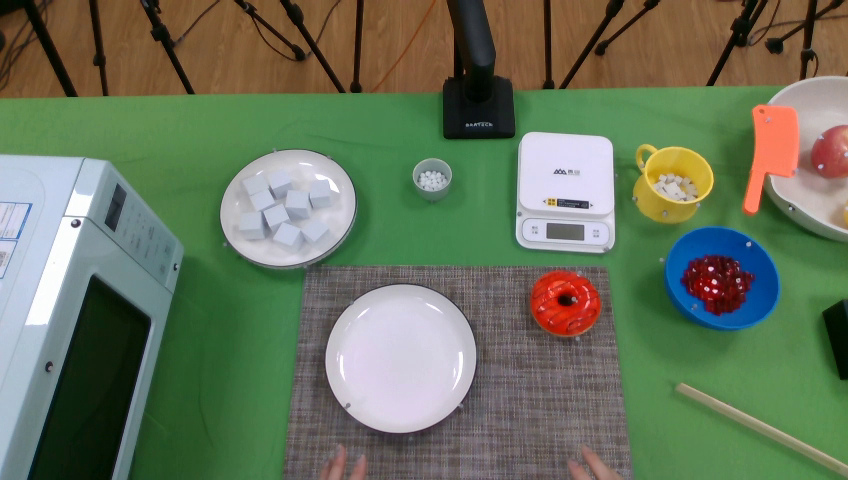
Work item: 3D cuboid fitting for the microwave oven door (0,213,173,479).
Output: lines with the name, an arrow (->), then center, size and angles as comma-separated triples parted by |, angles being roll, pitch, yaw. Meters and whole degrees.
microwave oven door -> -0.393, 0.178, 0.699 | 0.039, 0.245, 0.353 | 2, 65, 3

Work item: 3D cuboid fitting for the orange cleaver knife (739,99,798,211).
orange cleaver knife -> 0.511, -0.129, 0.896 | 0.077, 0.012, 0.210 | 17, 67, 10

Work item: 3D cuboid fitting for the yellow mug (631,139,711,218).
yellow mug -> 0.366, -0.103, 0.928 | 0.100, 0.064, 0.129 | -30, 67, -11

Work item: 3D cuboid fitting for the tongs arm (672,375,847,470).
tongs arm -> 0.499, 0.275, 0.766 | 0.386, 0.028, 0.028 | 28, 63, 14

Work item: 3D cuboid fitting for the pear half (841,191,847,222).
pear half -> 0.650, -0.053, 0.869 | 0.076, 0.111, 0.056 | 34, 70, 20

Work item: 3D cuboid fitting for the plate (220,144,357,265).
plate -> -0.205, -0.053, 0.935 | 0.208, 0.039, 0.206 | 0, 65, 1

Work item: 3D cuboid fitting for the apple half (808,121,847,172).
apple half -> 0.613, -0.138, 0.928 | 0.033, 0.082, 0.080 | -7, 65, -6

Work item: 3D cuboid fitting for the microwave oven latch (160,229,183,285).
microwave oven latch -> -0.374, 0.024, 0.882 | 0.030, 0.030, 0.078 | 4, 66, 3

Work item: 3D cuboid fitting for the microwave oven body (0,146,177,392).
microwave oven body -> -0.536, 0.136, 0.728 | 0.326, 0.262, 0.438 | 3, 66, 2

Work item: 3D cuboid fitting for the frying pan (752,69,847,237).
frying pan -> 0.688, -0.050, 0.874 | 0.307, 0.103, 0.482 | -25, 59, -8

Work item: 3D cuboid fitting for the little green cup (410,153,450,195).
little green cup -> 0.011, -0.101, 0.952 | 0.061, 0.039, 0.061 | -1, 64, 2

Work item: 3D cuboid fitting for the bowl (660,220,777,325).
bowl -> 0.398, 0.055, 0.847 | 0.151, 0.077, 0.150 | -1, 66, 2

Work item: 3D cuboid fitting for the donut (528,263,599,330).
donut -> 0.196, 0.080, 0.855 | 0.099, 0.048, 0.098 | -1, 65, 3

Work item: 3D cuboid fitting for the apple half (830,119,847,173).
apple half -> 0.651, -0.144, 0.931 | 0.053, 0.075, 0.080 | -7, 61, -5

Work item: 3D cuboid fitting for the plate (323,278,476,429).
plate -> -0.032, 0.153, 0.830 | 0.209, 0.038, 0.207 | -1, 65, 2

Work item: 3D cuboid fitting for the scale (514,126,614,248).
scale -> 0.218, -0.086, 0.943 | 0.148, 0.032, 0.199 | 4, 66, 4
